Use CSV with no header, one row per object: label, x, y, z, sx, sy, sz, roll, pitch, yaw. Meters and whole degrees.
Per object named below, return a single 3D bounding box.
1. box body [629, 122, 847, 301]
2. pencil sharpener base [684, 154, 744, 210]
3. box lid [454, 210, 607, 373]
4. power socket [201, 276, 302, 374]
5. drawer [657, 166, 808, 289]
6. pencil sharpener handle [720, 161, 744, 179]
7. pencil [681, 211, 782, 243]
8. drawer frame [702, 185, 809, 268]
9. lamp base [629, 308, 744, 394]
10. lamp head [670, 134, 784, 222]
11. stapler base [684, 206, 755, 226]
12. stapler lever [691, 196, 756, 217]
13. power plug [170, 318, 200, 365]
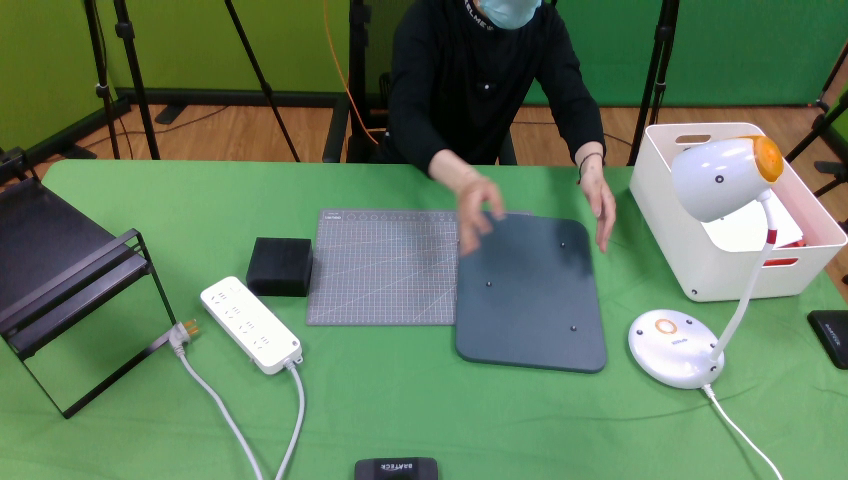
box body,0.593,-0.062,1.202,0.254,0.161,0.361,-3,47,-7
pencil sharpener base,0.619,-0.124,1.293,0.077,0.107,0.061,-8,48,-12
box lid,0.194,0.080,1.142,0.263,0.015,0.369,6,47,0
power socket,-0.297,0.141,1.034,0.072,0.033,0.225,-34,58,-30
drawer,0.582,-0.025,1.162,0.194,0.073,0.210,-12,55,3
pencil sharpener handle,0.667,-0.147,1.299,0.031,0.068,0.036,-8,80,-12
pencil,0.598,-0.028,1.185,0.194,0.012,0.012,18,48,10
drawer frame,0.584,-0.023,1.160,0.202,0.083,0.212,-12,56,3
lamp base,0.446,0.139,0.987,0.161,0.181,0.178,-18,53,-20
lamp head,0.422,-0.089,0.829,0.113,0.123,0.112,8,74,-32
stapler base,0.588,-0.052,1.203,0.130,0.024,0.041,2,59,11
stapler lever,0.586,-0.066,1.183,0.118,0.040,0.026,2,59,12
power plug,-0.392,0.167,1.013,0.052,0.035,0.072,-31,89,-23
